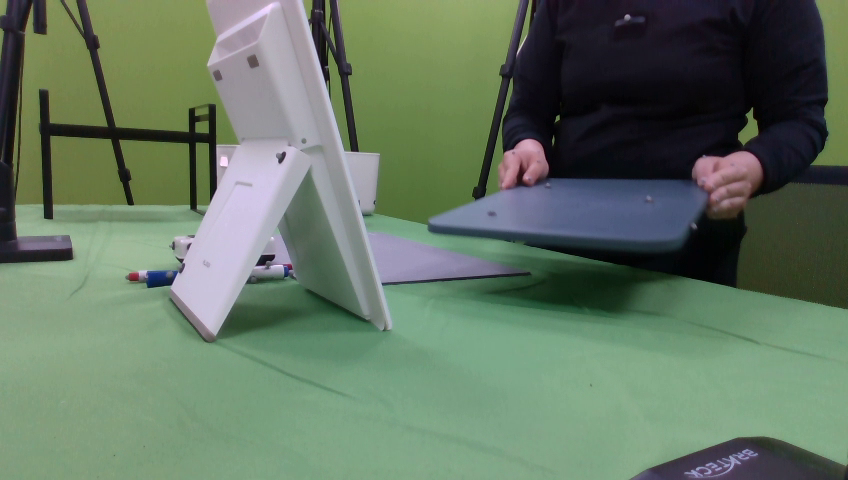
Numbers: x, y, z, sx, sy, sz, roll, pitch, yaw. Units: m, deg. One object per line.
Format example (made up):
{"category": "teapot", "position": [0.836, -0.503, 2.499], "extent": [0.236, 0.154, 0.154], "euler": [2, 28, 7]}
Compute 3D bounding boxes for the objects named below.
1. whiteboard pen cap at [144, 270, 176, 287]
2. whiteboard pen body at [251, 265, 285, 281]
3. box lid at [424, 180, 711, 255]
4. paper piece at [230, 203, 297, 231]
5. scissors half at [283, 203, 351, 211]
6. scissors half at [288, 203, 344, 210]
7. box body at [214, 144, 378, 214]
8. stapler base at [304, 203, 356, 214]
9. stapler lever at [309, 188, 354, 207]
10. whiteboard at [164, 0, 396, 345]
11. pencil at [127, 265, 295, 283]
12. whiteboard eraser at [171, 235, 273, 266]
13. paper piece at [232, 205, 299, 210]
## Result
{"category": "whiteboard pen cap", "position": [-0.271, 0.039, 0.627], "extent": [0.033, 0.018, 0.018], "euler": [-3, 10, -32]}
{"category": "whiteboard pen body", "position": [-0.220, 0.039, 0.656], "extent": [0.141, 0.017, 0.017], "euler": [-2, 9, -31]}
{"category": "box lid", "position": [0.191, -0.039, 0.738], "extent": [0.262, 0.015, 0.373], "euler": [5, 15, 29]}
{"category": "paper piece", "position": [-0.392, -0.060, 1.469], "extent": [0.139, 0.008, 0.135], "euler": [-9, 29, -25]}
{"category": "scissors half", "position": [-0.269, -0.081, 1.534], "extent": [0.176, 0.013, 0.040], "euler": [-6, 10, -23]}
{"category": "scissors half", "position": [-0.281, -0.083, 1.552], "extent": [0.176, 0.013, 0.040], "euler": [-9, 6, -44]}
{"category": "box body", "position": [-0.328, -0.154, 1.543], "extent": [0.366, 0.160, 0.253], "euler": [-2, 9, -32]}
{"category": "stapler base", "position": [-0.235, -0.081, 1.510], "extent": [0.131, 0.024, 0.041], "euler": [2, 9, -35]}
{"category": "stapler lever", "position": [-0.231, -0.106, 1.509], "extent": [0.119, 0.040, 0.026], "euler": [3, 9, -35]}
{"category": "whiteboard", "position": [-0.173, -0.053, 0.511], "extent": [0.144, 0.305, 0.216], "euler": [-23, 19, -26]}
{"category": "pencil", "position": [-0.231, 0.037, 0.690], "extent": [0.195, 0.012, 0.012], "euler": [-2, 9, -34]}
{"category": "whiteboard eraser", "position": [-0.248, 0.014, 0.747], "extent": [0.113, 0.042, 0.055], "euler": [-1, 10, -32]}
{"category": "paper piece", "position": [-0.388, -0.079, 1.466], "extent": [0.136, 0.004, 0.134], "euler": [-2, 8, -30]}
